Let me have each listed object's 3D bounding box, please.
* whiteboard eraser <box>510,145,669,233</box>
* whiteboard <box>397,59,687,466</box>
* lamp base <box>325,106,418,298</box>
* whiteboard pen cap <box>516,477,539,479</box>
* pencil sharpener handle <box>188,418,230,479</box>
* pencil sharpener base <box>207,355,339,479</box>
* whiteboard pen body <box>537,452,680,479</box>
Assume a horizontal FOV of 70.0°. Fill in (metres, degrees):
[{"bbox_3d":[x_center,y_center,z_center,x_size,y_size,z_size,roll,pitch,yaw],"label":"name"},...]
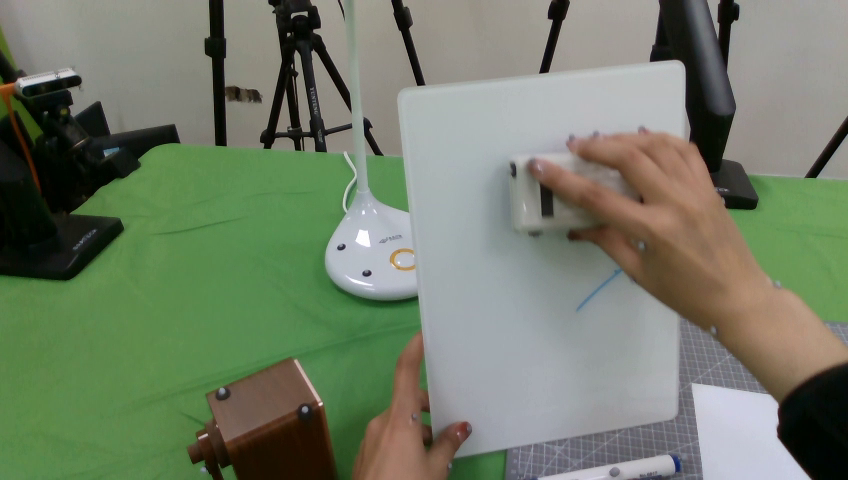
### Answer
[{"bbox_3d":[0.119,-0.037,0.440,0.113,0.056,0.041,-6,12,-8],"label":"whiteboard eraser"},{"bbox_3d":[0.093,0.009,0.538,0.217,0.307,0.143,-8,16,-6],"label":"whiteboard"},{"bbox_3d":[-0.049,-0.052,0.691,0.161,0.182,0.177,-25,39,-29],"label":"lamp base"},{"bbox_3d":[0.074,0.193,0.466,0.033,0.018,0.018,-7,35,-7],"label":"whiteboard pen cap"},{"bbox_3d":[-0.158,0.162,0.431,0.031,0.068,0.035,-21,26,-24],"label":"pencil sharpener handle"},{"bbox_3d":[-0.115,0.155,0.462,0.077,0.108,0.060,-21,40,-24],"label":"pencil sharpener base"},{"bbox_3d":[0.132,0.185,0.473,0.141,0.017,0.017,-7,35,-7],"label":"whiteboard pen body"}]
